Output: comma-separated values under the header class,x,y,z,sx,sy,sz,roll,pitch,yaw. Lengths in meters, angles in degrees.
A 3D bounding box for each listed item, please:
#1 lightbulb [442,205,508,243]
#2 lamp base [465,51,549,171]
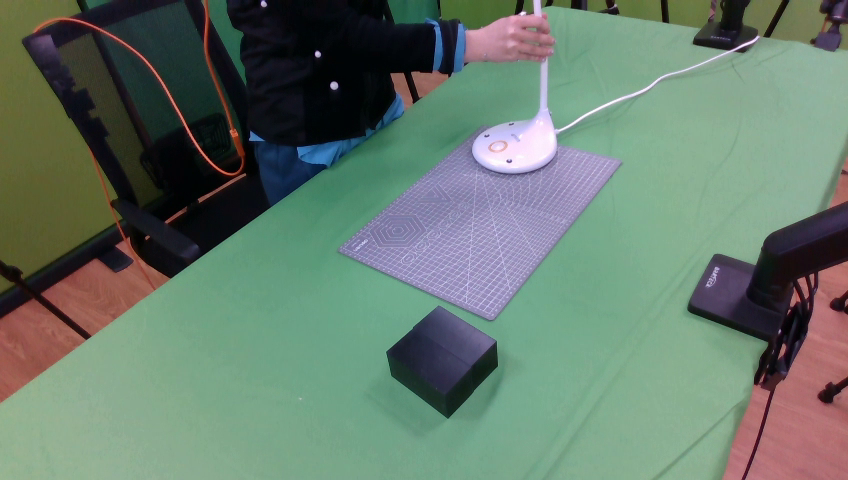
class,x,y,z,sx,sy,sz,roll,pitch,yaw
lightbulb,0.081,-0.019,0.955,0.107,0.059,0.059,18,44,5
lamp base,0.159,-0.243,1.103,0.180,0.181,0.159,-32,46,-29
